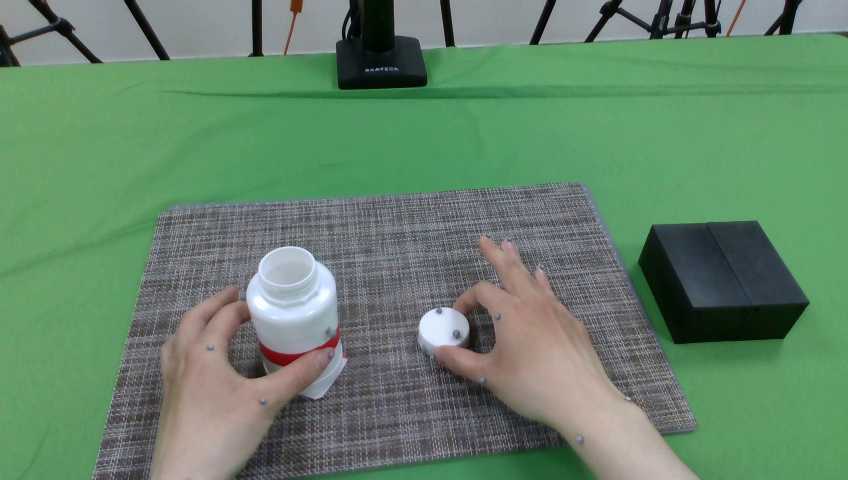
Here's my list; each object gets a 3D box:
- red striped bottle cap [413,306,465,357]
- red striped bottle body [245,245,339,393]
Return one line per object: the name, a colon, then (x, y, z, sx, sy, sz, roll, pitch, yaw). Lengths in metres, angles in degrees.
red striped bottle cap: (0.013, 0.077, 0.514, 0.044, 0.018, 0.044, 5, 43, -4)
red striped bottle body: (-0.098, 0.058, 0.458, 0.063, 0.121, 0.062, 2, 45, -2)
